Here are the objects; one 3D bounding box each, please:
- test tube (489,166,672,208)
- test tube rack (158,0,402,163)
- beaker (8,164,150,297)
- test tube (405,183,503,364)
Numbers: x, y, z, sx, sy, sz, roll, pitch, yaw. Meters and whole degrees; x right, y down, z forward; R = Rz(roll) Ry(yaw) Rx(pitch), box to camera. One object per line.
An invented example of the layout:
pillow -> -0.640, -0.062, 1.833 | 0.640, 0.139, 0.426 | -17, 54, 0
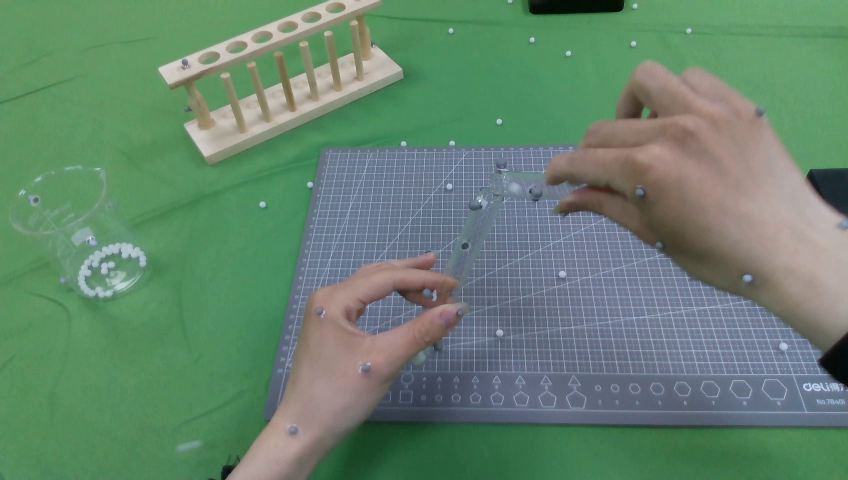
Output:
test tube -> 0.104, -0.032, 0.381 | 0.151, 0.017, 0.017 | 2, 45, -31
test tube rack -> -0.146, -0.183, 0.659 | 0.242, 0.086, 0.066 | -29, 56, -18
beaker -> -0.286, -0.006, 0.519 | 0.073, 0.101, 0.083 | 22, 56, 19
test tube -> 0.015, 0.028, 0.387 | 0.017, 0.151, 0.017 | 15, 35, -10
